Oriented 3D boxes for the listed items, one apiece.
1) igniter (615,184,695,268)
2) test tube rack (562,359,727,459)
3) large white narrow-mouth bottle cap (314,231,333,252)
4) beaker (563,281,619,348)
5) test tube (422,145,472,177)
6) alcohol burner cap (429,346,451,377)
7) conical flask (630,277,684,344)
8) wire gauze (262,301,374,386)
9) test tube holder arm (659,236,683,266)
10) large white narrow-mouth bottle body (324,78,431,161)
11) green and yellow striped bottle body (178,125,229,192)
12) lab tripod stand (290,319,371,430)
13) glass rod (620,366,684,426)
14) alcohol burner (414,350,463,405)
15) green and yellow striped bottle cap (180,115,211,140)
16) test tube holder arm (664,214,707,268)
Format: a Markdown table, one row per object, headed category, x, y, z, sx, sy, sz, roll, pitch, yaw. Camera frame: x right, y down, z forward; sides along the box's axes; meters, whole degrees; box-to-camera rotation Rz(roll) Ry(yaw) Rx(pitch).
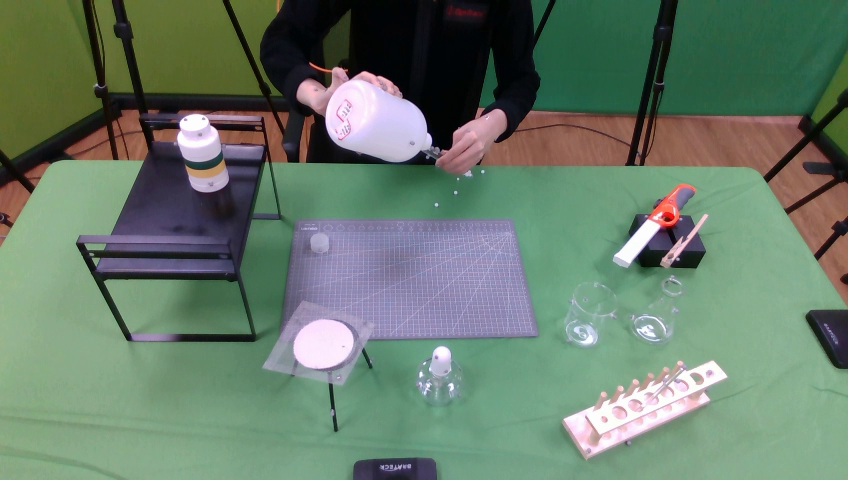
| category | x | y | z | sx | sy | sz | roll | pitch | yaw |
| --- | --- | --- | --- | --- | --- | --- | --- | --- | --- |
| igniter | 0.459 | -0.035 | 1.196 | 0.057 | 0.025 | 0.276 | 33 | 55 | 27 |
| test tube rack | 0.341 | 0.247 | 0.940 | 0.243 | 0.085 | 0.066 | -16 | 49 | -18 |
| large white narrow-mouth bottle cap | -0.195 | 0.003 | 1.178 | 0.038 | 0.024 | 0.037 | 2 | 45 | -2 |
| beaker | 0.283 | 0.129 | 1.041 | 0.074 | 0.101 | 0.083 | 11 | 46 | 6 |
| test tube | 0.043 | -0.142 | 1.087 | 0.151 | 0.017 | 0.017 | 21 | 24 | -51 |
| alcohol burner cap | 0.026 | 0.180 | 0.912 | 0.034 | 0.048 | 0.033 | 1 | 47 | -1 |
| conical flask | 0.408 | 0.117 | 1.045 | 0.075 | 0.122 | 0.075 | 2 | 46 | -2 |
| wire gauze | -0.150 | 0.148 | 0.873 | 0.121 | 0.011 | 0.124 | 14 | 46 | 12 |
| test tube holder arm | 0.472 | 0.020 | 1.149 | 0.010 | 0.015 | 0.088 | 35 | 54 | 27 |
| large white narrow-mouth bottle body | -0.057 | -0.179 | 0.953 | 0.195 | 0.102 | 0.101 | 11 | 30 | -52 |
| green and yellow striped bottle body | -0.361 | -0.142 | 0.989 | 0.063 | 0.120 | 0.063 | 2 | 46 | -2 |
| lab tripod stand | -0.146 | 0.193 | 0.923 | 0.148 | 0.132 | 0.147 | 1 | 47 | -1 |
| glass rod | 0.323 | 0.227 | 0.866 | 0.008 | 0.200 | 0.008 | 5 | 51 | -7 |
| alcohol burner | 0.023 | 0.205 | 0.939 | 0.078 | 0.120 | 0.077 | 1 | 48 | -1 |
| green and yellow striped bottle cap | -0.358 | -0.177 | 0.951 | 0.045 | 0.020 | 0.045 | 2 | 45 | -2 |
| test tube holder arm | 0.507 | -0.001 | 1.171 | 0.013 | 0.015 | 0.178 | 34 | 54 | 26 |
